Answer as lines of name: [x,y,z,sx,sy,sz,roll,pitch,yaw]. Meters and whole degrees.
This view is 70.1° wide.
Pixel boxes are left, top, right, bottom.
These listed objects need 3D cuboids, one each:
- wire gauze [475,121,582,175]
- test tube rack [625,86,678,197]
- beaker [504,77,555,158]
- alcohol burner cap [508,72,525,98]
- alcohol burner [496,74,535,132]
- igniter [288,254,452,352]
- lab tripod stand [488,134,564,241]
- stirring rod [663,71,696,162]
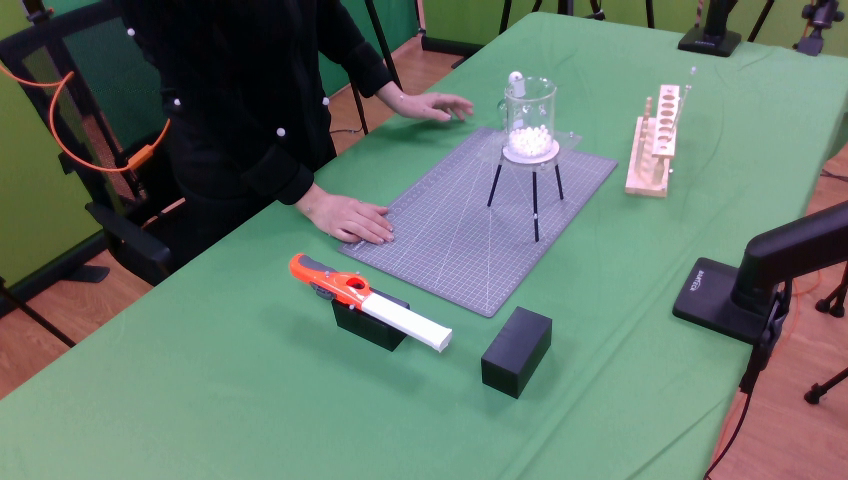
wire gauze: [0.162,-0.142,0.929,0.120,0.011,0.125,19,49,32]
test tube rack: [0.412,-0.184,1.088,0.066,0.085,0.242,9,43,18]
beaker: [0.160,-0.181,0.900,0.084,0.101,0.073,-32,45,-27]
alcohol burner cap: [0.181,-0.306,1.186,0.034,0.048,0.033,-7,39,6]
alcohol burner: [0.184,-0.278,1.210,0.078,0.119,0.077,-3,42,3]
igniter: [-0.083,0.079,0.818,0.274,0.025,0.057,23,46,27]
lab tripod stand: [0.168,-0.092,0.972,0.148,0.132,0.147,-5,41,5]
stirring rod: [0.410,-0.195,0.981,0.014,0.177,0.006,11,50,14]
